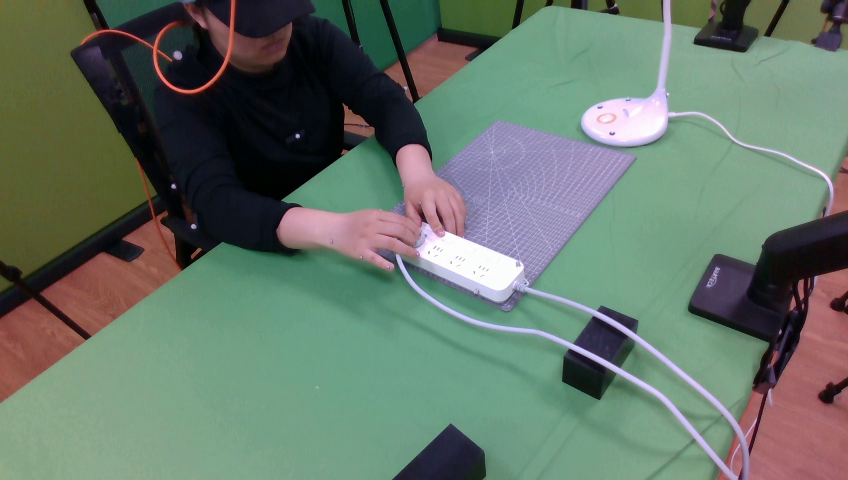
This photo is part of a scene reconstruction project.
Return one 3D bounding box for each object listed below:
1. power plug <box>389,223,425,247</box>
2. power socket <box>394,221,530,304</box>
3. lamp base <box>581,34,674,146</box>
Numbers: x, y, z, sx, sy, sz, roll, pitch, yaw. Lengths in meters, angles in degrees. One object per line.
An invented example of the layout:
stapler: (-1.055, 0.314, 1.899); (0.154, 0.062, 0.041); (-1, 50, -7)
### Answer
power plug: (-0.031, 0.002, 0.919); (0.073, 0.053, 0.035); (-29, 47, -28)
power socket: (0.050, 0.029, 0.914); (0.225, 0.033, 0.072); (24, 50, 31)
lamp base: (0.392, -0.291, 1.129); (0.180, 0.181, 0.159); (-11, 41, -8)
